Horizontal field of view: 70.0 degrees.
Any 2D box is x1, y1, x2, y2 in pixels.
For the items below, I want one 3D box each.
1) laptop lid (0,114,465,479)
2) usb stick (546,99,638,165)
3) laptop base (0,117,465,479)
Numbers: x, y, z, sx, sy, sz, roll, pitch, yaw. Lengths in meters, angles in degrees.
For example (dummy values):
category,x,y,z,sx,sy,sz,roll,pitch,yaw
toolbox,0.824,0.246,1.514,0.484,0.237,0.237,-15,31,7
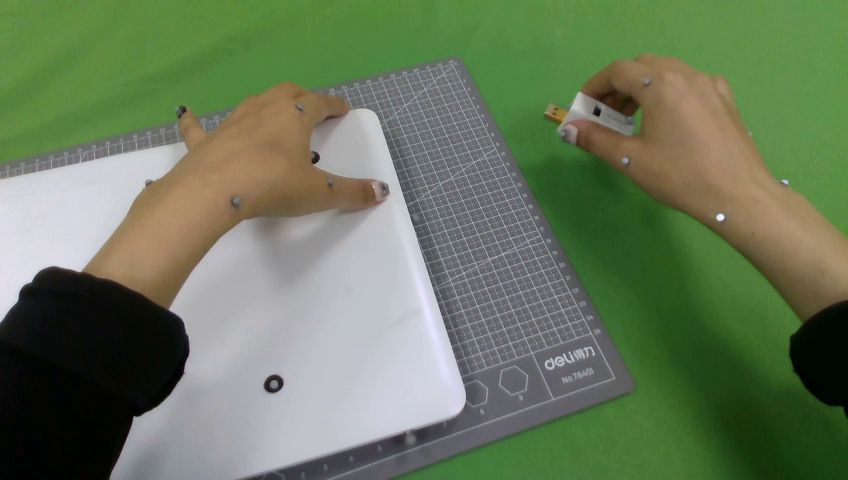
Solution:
category,x,y,z,sx,sy,sz,roll,pitch,yaw
laptop lid,-0.174,0.042,0.362,0.357,0.013,0.239,-12,62,-8
usb stick,0.114,-0.077,0.418,0.059,0.027,0.021,25,55,6
laptop base,-0.175,0.046,0.374,0.355,0.023,0.233,-13,63,-9
